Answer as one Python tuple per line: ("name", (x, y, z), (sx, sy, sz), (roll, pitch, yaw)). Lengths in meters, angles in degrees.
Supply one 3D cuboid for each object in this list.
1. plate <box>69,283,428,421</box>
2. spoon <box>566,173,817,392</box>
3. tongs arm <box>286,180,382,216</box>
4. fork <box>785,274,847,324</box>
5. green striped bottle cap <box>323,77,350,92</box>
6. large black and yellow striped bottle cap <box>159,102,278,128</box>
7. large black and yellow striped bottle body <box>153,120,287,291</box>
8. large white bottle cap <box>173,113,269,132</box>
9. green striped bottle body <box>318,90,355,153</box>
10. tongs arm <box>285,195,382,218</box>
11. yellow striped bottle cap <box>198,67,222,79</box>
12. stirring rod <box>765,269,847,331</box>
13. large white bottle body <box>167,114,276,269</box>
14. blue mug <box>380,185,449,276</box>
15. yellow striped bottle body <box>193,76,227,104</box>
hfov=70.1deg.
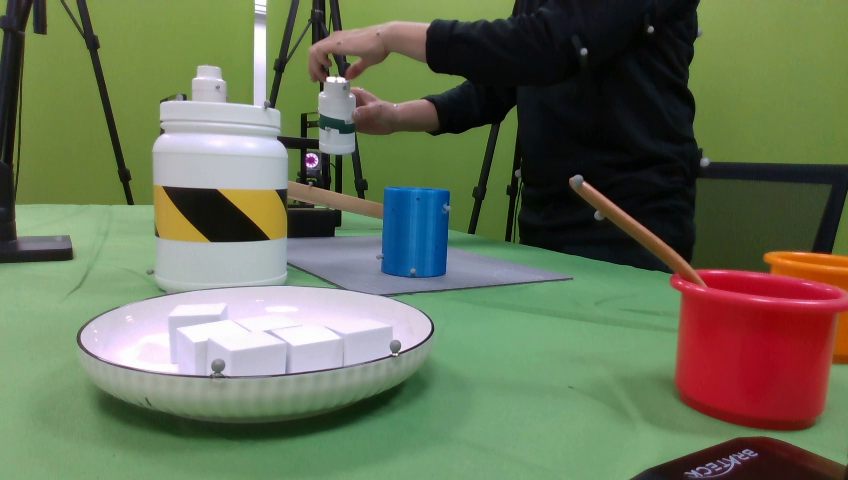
("plate", (-0.102, 0.066, 0.381), (0.208, 0.039, 0.207), (2, 7, 0))
("spoon", (0.161, 0.024, 0.370), (0.193, 0.021, 0.042), (47, 18, 3))
("tongs arm", (-0.122, -0.066, 1.147), (0.387, 0.026, 0.050), (11, -2, -37))
("fork", (0.332, 0.018, 0.444), (0.028, 0.018, 0.207), (-2, -35, -15))
("green striped bottle cap", (-0.147, -0.260, 1.015), (0.044, 0.020, 0.044), (2, 24, -1))
("large black and yellow striped bottle cap", (-0.207, -0.125, 0.615), (0.115, 0.019, 0.115), (2, 6, 0))
("large black and yellow striped bottle body", (-0.208, -0.042, 0.626), (0.131, 0.184, 0.130), (2, 7, 0))
("large white bottle cap", (-0.254, -0.147, 0.760), (0.115, 0.018, 0.115), (1, 7, 0))
("green striped bottle body", (-0.150, -0.213, 1.037), (0.063, 0.119, 0.063), (3, 23, -1))
("tongs arm", (-0.166, -0.074, 1.216), (0.389, 0.027, 0.028), (11, -6, -24))
("yellow striped bottle cap", (-0.411, -0.320, 1.163), (0.044, 0.018, 0.044), (0, 5, 0))
("stirring rod", (0.352, 0.020, 0.484), (0.176, 0.006, 0.014), (-40, -7, 13))
("large white bottle body", (-0.256, -0.063, 0.772), (0.131, 0.184, 0.130), (2, 7, 0))
("blue mug", (-0.018, -0.016, 0.764), (0.083, 0.106, 0.116), (-1, 8, -25))
("yellow striped bottle body", (-0.414, -0.268, 1.169), (0.063, 0.120, 0.063), (2, 7, 0))
